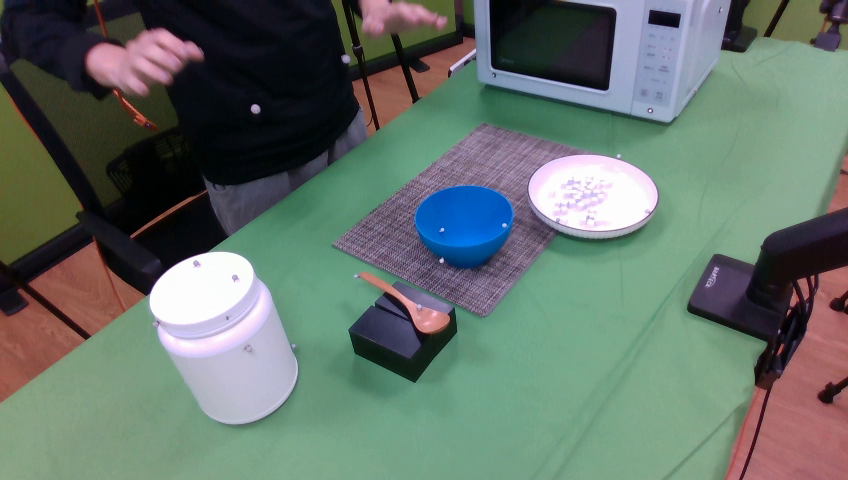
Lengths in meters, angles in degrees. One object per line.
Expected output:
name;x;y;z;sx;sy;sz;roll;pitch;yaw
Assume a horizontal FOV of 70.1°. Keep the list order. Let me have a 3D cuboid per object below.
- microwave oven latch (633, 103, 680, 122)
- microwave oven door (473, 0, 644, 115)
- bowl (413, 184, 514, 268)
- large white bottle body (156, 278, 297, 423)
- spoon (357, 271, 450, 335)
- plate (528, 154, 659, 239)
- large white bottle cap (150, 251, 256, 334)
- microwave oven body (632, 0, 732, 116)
microwave oven latch;0.444;-0.249;1.157;0.078;0.029;0.030;21;48;30
microwave oven door;0.257;-0.396;1.199;0.353;0.245;0.039;21;48;29
bowl;0.063;-0.010;0.922;0.151;0.077;0.150;-4;40;4
large white bottle body;-0.239;0.120;0.735;0.130;0.185;0.130;-4;41;4
spoon;-0.034;0.078;0.812;0.042;0.022;0.192;-36;43;-23
plate;0.274;-0.069;0.993;0.209;0.038;0.208;-2;42;2
large white bottle cap;-0.248;0.056;0.680;0.115;0.018;0.114;-4;41;4
microwave oven body;0.377;-0.462;1.267;0.438;0.261;0.327;21;48;30
